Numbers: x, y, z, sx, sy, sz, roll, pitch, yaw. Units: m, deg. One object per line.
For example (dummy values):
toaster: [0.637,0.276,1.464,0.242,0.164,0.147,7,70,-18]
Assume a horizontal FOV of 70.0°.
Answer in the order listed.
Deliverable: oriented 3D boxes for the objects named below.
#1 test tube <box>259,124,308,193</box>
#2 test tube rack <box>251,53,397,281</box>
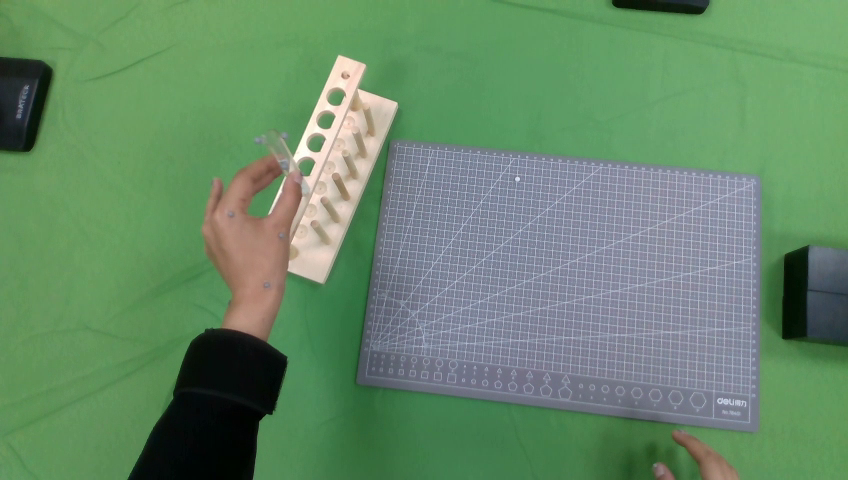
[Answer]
test tube: [-0.129,-0.072,0.571,0.017,0.151,0.017,0,77,0]
test tube rack: [-0.109,-0.082,0.699,0.066,0.085,0.241,20,79,6]
